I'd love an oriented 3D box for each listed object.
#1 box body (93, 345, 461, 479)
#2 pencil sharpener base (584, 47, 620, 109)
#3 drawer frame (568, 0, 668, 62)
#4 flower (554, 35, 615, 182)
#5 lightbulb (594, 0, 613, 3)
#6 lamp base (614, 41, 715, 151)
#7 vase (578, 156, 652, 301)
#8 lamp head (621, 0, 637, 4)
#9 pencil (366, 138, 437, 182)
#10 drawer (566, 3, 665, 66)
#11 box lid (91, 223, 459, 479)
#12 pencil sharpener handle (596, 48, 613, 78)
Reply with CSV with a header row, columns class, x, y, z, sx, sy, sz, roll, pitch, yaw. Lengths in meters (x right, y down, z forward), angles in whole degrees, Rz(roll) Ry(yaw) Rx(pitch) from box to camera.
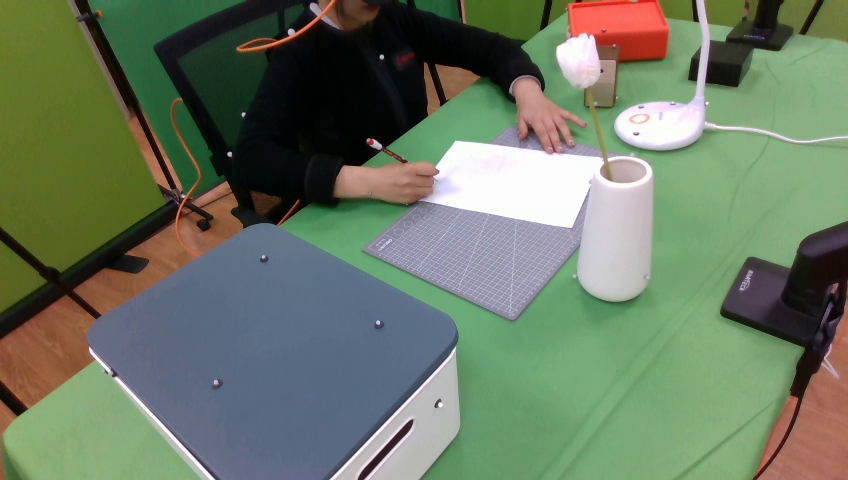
class,x,y,z,sx,sy,sz,roll,pitch,yaw
box body,-0.162,0.170,0.708,0.361,0.161,0.255,25,50,34
pencil sharpener base,0.368,-0.336,1.249,0.061,0.107,0.076,6,42,19
drawer frame,0.450,-0.495,1.441,0.213,0.083,0.201,-1,40,9
flower,0.237,-0.083,0.774,0.044,0.363,0.038,-22,26,7
lightbulb,0.305,-0.438,0.978,0.060,0.107,0.059,13,43,-11
lamp base,0.449,-0.277,1.106,0.179,0.181,0.160,1,41,9
vase,0.261,-0.011,0.812,0.098,0.201,0.097,-4,40,4
lamp head,0.319,-0.453,0.962,0.113,0.123,0.112,20,33,-13
pencil,-0.033,-0.135,1.054,0.012,0.196,0.012,-14,66,34
drawer,0.447,-0.493,1.440,0.211,0.073,0.194,0,40,10
box lid,-0.174,0.103,0.667,0.368,0.015,0.264,24,48,35
pencil sharpener handle,0.382,-0.378,1.276,0.036,0.068,0.030,4,42,20
